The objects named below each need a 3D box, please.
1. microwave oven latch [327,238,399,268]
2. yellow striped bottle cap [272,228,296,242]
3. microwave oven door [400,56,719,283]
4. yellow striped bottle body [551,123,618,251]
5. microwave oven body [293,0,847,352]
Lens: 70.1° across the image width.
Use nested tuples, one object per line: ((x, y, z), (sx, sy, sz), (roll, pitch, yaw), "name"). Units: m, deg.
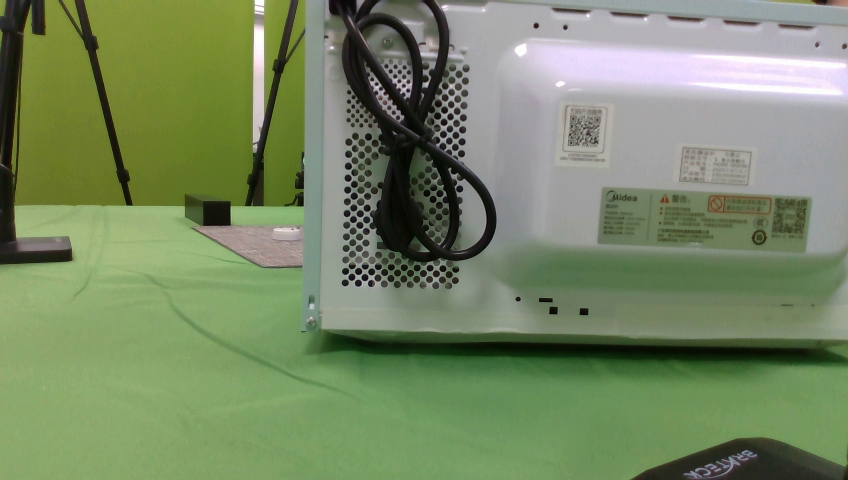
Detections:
((-0.069, 0.015, 0.694), (0.079, 0.029, 0.030), (3, 7, -3), "microwave oven latch")
((-0.232, -0.008, 1.012), (0.044, 0.018, 0.044), (4, 8, 0), "yellow striped bottle cap")
((0.155, -0.077, 0.698), (0.356, 0.243, 0.039), (2, 8, -5), "microwave oven door")
((0.155, -0.051, 0.585), (0.063, 0.120, 0.063), (-1, 4, 0), "yellow striped bottle body")
((0.122, -0.055, 0.550), (0.442, 0.260, 0.325), (3, 7, -5), "microwave oven body")
